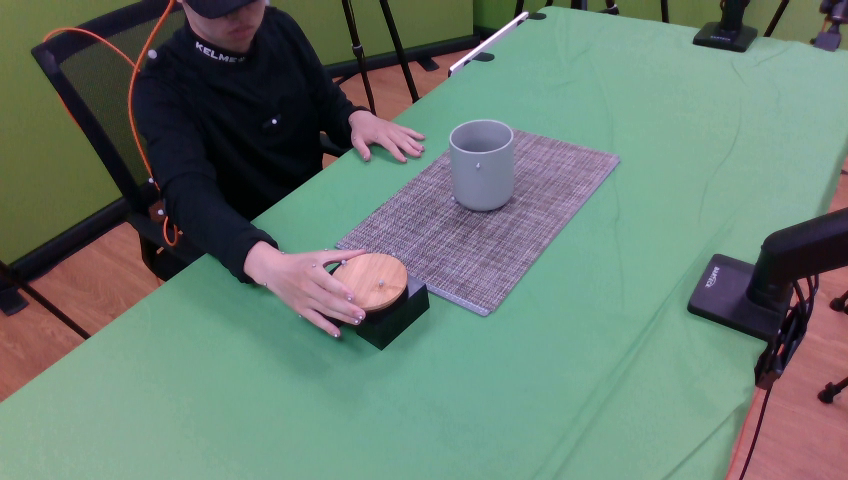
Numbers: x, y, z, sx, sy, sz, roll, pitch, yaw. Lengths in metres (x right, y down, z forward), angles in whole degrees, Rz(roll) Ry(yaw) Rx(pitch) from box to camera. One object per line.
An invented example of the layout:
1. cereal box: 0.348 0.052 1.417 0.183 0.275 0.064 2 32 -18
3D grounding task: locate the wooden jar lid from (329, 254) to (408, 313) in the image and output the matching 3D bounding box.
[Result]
1. wooden jar lid: -0.076 0.061 0.832 0.108 0.021 0.108 -4 39 4

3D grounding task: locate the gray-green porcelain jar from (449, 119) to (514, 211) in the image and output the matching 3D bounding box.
1. gray-green porcelain jar: 0.098 -0.120 1.008 0.106 0.127 0.105 -4 41 4
